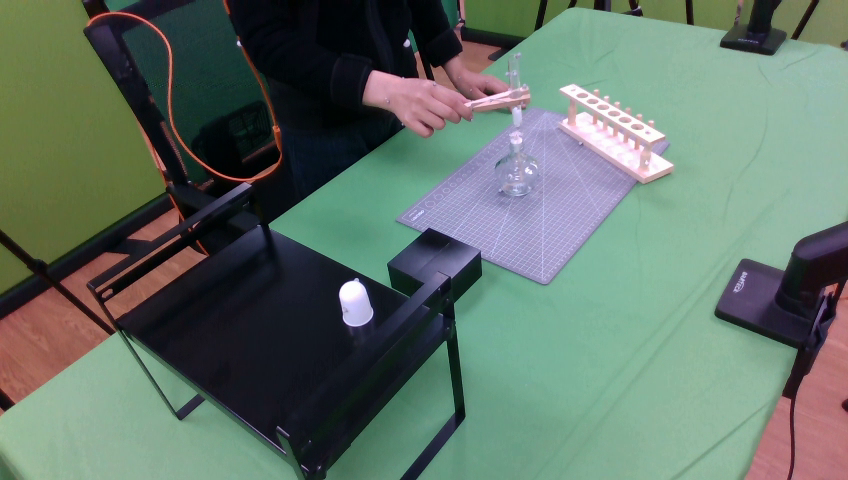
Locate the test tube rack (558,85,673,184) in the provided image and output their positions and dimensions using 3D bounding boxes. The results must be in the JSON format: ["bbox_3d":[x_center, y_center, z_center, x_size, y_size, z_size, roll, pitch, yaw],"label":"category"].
[{"bbox_3d":[0.347,-0.203,1.109,0.067,0.085,0.240,-23,42,-17],"label":"test tube rack"}]

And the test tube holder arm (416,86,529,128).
[{"bbox_3d":[0.074,-0.203,0.928,0.178,0.015,0.013,-15,62,3],"label":"test tube holder arm"}]

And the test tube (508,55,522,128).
[{"bbox_3d":[0.138,-0.221,0.915,0.017,0.151,0.017,-5,61,9],"label":"test tube"}]

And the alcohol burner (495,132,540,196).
[{"bbox_3d":[0.159,-0.135,1.035,0.078,0.119,0.077,-5,42,5],"label":"alcohol burner"}]

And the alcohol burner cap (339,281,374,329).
[{"bbox_3d":[-0.071,0.063,0.617,0.034,0.048,0.033,-4,39,4],"label":"alcohol burner cap"}]

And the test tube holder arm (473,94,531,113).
[{"bbox_3d":[0.119,-0.208,0.922,0.088,0.015,0.010,-8,63,7],"label":"test tube holder arm"}]
